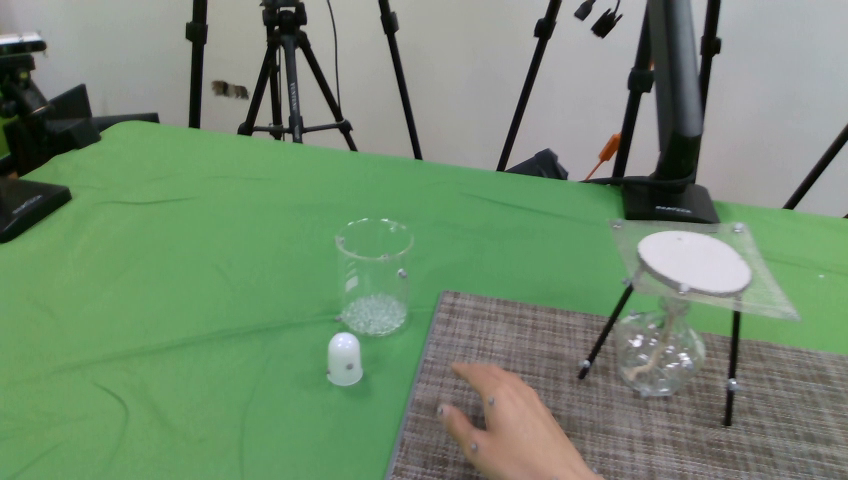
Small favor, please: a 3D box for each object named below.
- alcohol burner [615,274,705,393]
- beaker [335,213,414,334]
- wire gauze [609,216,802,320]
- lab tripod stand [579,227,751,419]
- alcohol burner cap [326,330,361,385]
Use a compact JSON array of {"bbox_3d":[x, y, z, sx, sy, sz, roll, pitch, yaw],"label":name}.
[{"bbox_3d":[0.213,0.077,0.535,0.078,0.120,0.077,3,36,-2],"label":"alcohol burner"},{"bbox_3d":[-0.047,0.034,0.595,0.073,0.101,0.084,18,36,19],"label":"beaker"},{"bbox_3d":[0.221,0.015,0.490,0.125,0.011,0.120,7,34,3],"label":"wire gauze"},{"bbox_3d":[0.221,0.068,0.531,0.148,0.132,0.147,4,33,-2],"label":"lab tripod stand"},{"bbox_3d":[-0.072,0.102,0.542,0.034,0.048,0.033,3,34,-2],"label":"alcohol burner cap"}]
